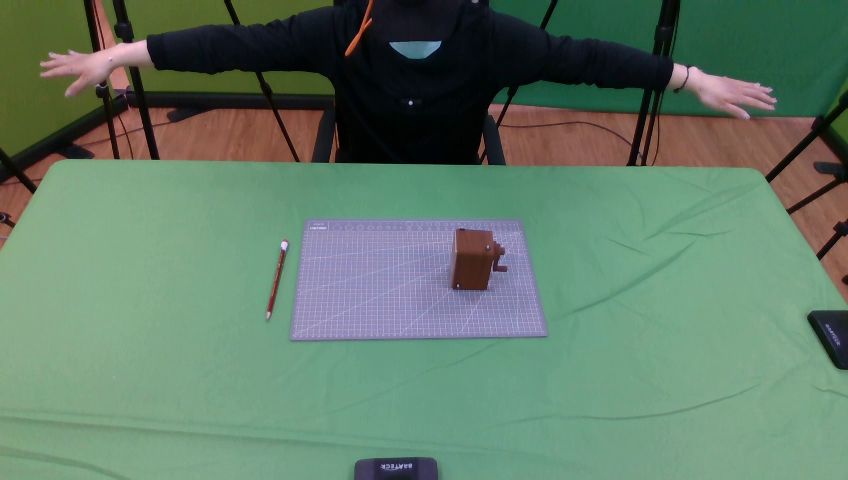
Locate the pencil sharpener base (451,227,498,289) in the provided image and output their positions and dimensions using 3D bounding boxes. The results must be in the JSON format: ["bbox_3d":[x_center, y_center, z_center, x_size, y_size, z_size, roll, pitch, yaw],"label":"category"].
[{"bbox_3d":[0.091,0.034,1.103,0.077,0.107,0.061,3,46,-1],"label":"pencil sharpener base"}]

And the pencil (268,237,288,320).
[{"bbox_3d":[-0.271,0.068,1.119,0.012,0.012,0.193,2,48,-2],"label":"pencil"}]

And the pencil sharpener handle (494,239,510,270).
[{"bbox_3d":[0.143,0.029,1.094,0.030,0.068,0.036,3,42,-1],"label":"pencil sharpener handle"}]
